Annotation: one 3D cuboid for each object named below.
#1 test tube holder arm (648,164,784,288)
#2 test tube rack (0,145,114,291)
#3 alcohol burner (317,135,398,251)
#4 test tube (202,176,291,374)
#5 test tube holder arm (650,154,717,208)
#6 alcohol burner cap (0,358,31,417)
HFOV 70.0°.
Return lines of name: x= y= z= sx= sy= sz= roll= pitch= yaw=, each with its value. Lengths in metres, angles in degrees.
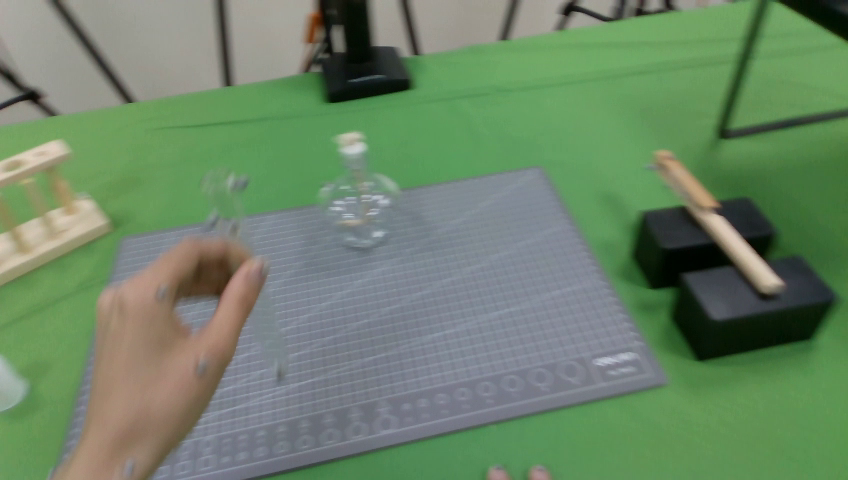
test tube holder arm: x=0.240 y=-0.020 z=0.513 sx=0.015 sy=0.013 sz=0.176 roll=-6 pitch=39 yaw=-11
test tube rack: x=-0.439 y=0.007 z=0.570 sx=0.242 sy=0.086 sz=0.066 roll=-33 pitch=49 yaw=-29
alcohol burner: x=-0.064 y=-0.048 z=0.572 sx=0.078 sy=0.120 sz=0.077 roll=-1 pitch=43 yaw=1
test tube: x=-0.100 y=0.028 z=0.354 sx=0.017 sy=0.151 sz=0.017 roll=-3 pitch=40 yaw=3
test tube holder arm: x=0.231 y=-0.052 z=0.543 sx=0.015 sy=0.010 sz=0.087 roll=-6 pitch=40 yaw=-11
alcohol burner cap: x=-0.337 y=0.112 z=0.476 sx=0.034 sy=0.048 sz=0.033 roll=-2 pitch=41 yaw=2
